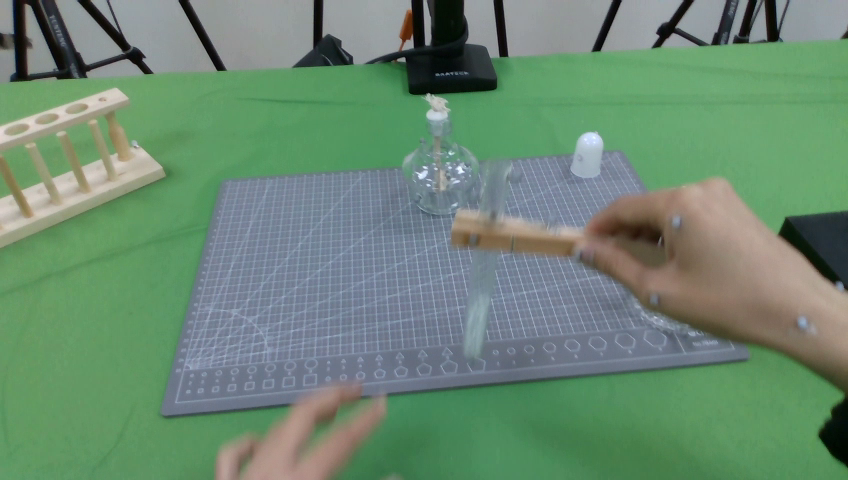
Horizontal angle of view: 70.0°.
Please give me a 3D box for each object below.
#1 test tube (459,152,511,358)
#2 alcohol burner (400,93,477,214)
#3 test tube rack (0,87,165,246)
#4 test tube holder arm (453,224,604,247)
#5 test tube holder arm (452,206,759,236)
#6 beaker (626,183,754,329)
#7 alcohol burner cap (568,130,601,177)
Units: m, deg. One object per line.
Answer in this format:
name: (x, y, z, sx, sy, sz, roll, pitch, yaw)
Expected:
test tube: (0.035, 0.016, 0.370, 0.017, 0.151, 0.017, 3, 35, -2)
alcohol burner: (0.013, -0.086, 0.592, 0.078, 0.120, 0.077, -2, 40, 2)
test tube rack: (-0.399, -0.063, 0.602, 0.242, 0.086, 0.066, -32, 50, -30)
test tube holder arm: (0.061, -0.002, 0.358, 0.088, 0.015, 0.010, 1, 77, 2)
test tube holder arm: (0.106, -0.010, 0.358, 0.178, 0.015, 0.013, -5, 77, 1)
beaker: (0.203, 0.014, 0.484, 0.074, 0.101, 0.083, -25, 46, -24)
alcohol burner cap: (0.174, -0.095, 0.652, 0.034, 0.048, 0.033, -1, 41, 1)
